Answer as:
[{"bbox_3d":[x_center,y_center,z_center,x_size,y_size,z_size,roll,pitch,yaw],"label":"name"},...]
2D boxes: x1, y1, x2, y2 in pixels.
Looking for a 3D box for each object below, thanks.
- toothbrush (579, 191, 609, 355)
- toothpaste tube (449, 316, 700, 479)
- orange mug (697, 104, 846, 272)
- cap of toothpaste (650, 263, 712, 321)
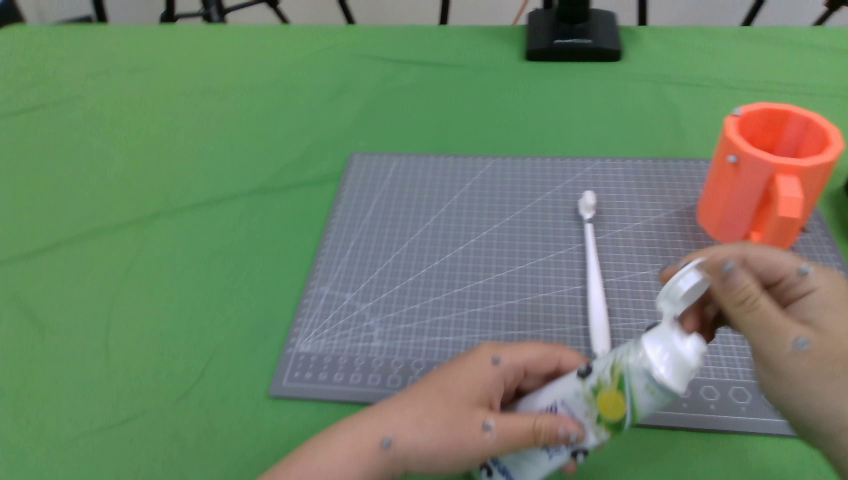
[{"bbox_3d":[0.141,0.023,0.503,0.014,0.017,0.180,11,47,-2],"label":"toothbrush"},{"bbox_3d":[0.082,0.095,0.342,0.035,0.165,0.054,-6,58,-56],"label":"toothpaste tube"},{"bbox_3d":[0.282,-0.039,0.498,0.083,0.102,0.125,9,42,13],"label":"orange mug"},{"bbox_3d":[0.134,0.027,0.311,0.037,0.038,0.011,-17,47,-13],"label":"cap of toothpaste"}]
